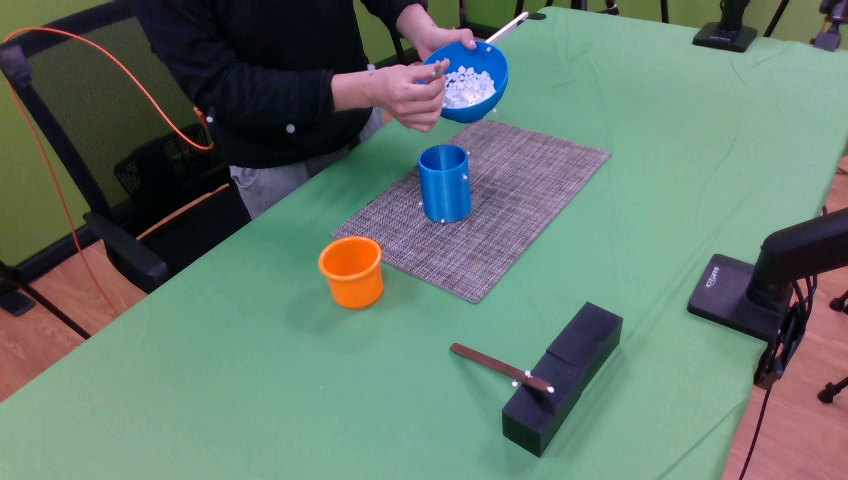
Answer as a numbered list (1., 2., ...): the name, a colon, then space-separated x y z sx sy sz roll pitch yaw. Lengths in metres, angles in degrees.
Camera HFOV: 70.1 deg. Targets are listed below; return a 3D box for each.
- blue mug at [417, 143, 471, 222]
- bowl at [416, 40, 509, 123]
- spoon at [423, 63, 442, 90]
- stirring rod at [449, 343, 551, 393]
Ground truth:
1. blue mug: 0.031 -0.104 1.014 0.082 0.106 0.115 -14 41 -7
2. bowl: 0.068 -0.246 0.992 0.151 0.077 0.150 -6 59 10
3. spoon: 0.018 -0.247 0.907 0.041 0.022 0.193 -46 9 5
4. stirring rod: 0.088 0.154 0.741 0.014 0.006 0.174 -40 28 -25
